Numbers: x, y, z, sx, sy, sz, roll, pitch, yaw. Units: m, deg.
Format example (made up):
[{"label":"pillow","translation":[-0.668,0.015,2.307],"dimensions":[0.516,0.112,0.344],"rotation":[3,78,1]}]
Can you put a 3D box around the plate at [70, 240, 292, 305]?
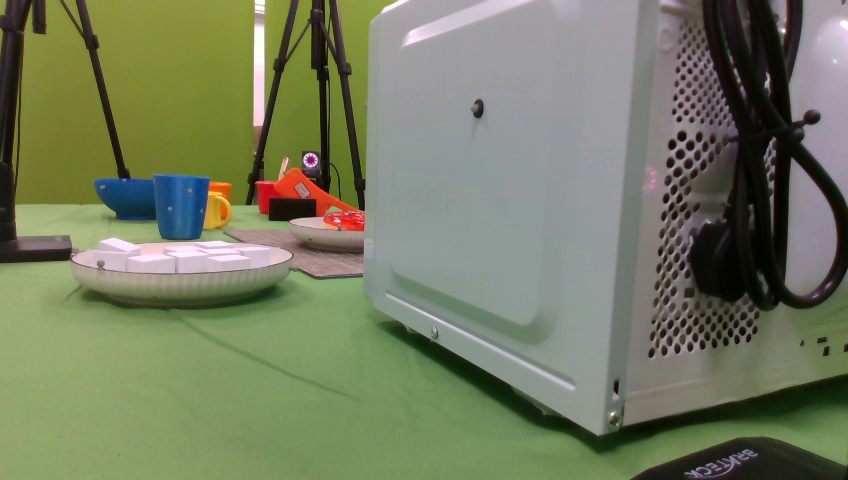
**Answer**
[{"label":"plate","translation":[-0.242,0.031,0.618],"dimensions":[0.208,0.039,0.207],"rotation":[2,8,0]}]

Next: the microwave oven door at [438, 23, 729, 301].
[{"label":"microwave oven door","translation":[0.181,-0.072,0.620],"dimensions":[0.358,0.243,0.039],"rotation":[-2,8,-29]}]

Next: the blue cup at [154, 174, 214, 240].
[{"label":"blue cup","translation":[-0.390,-0.053,0.978],"dimensions":[0.093,0.100,0.092],"rotation":[3,6,0]}]

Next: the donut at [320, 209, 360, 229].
[{"label":"donut","translation":[-0.115,-0.023,0.961],"dimensions":[0.099,0.048,0.099],"rotation":[5,8,0]}]

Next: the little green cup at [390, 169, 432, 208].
[{"label":"little green cup","translation":[-0.018,-0.079,0.948],"dimensions":[0.061,0.038,0.061],"rotation":[-22,-17,-7]}]

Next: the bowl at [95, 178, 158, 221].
[{"label":"bowl","translation":[-0.576,-0.081,1.217],"dimensions":[0.151,0.077,0.151],"rotation":[3,8,0]}]

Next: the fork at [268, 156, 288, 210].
[{"label":"fork","translation":[-0.360,-0.144,1.508],"dimensions":[0.028,0.018,0.207],"rotation":[2,49,0]}]

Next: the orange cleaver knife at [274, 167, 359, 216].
[{"label":"orange cleaver knife","translation":[-0.238,-0.090,1.381],"dimensions":[0.212,0.077,0.012],"rotation":[31,0,-19]}]

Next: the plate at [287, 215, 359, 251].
[{"label":"plate","translation":[-0.111,-0.012,0.960],"dimensions":[0.209,0.038,0.209],"rotation":[3,8,0]}]

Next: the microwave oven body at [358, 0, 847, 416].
[{"label":"microwave oven body","translation":[0.211,-0.047,0.474],"dimensions":[0.444,0.260,0.324],"rotation":[-1,7,-28]}]

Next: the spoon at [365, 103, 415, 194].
[{"label":"spoon","translation":[-0.058,-0.152,0.986],"dimensions":[0.042,0.193,0.021],"rotation":[3,-33,-44]}]

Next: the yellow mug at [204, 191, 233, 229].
[{"label":"yellow mug","translation":[-0.415,-0.057,1.132],"dimensions":[0.130,0.064,0.100],"rotation":[6,8,16]}]

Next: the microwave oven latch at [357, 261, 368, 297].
[{"label":"microwave oven latch","translation":[-0.019,0.033,0.531],"dimensions":[0.079,0.029,0.030],"rotation":[-1,7,-27]}]
